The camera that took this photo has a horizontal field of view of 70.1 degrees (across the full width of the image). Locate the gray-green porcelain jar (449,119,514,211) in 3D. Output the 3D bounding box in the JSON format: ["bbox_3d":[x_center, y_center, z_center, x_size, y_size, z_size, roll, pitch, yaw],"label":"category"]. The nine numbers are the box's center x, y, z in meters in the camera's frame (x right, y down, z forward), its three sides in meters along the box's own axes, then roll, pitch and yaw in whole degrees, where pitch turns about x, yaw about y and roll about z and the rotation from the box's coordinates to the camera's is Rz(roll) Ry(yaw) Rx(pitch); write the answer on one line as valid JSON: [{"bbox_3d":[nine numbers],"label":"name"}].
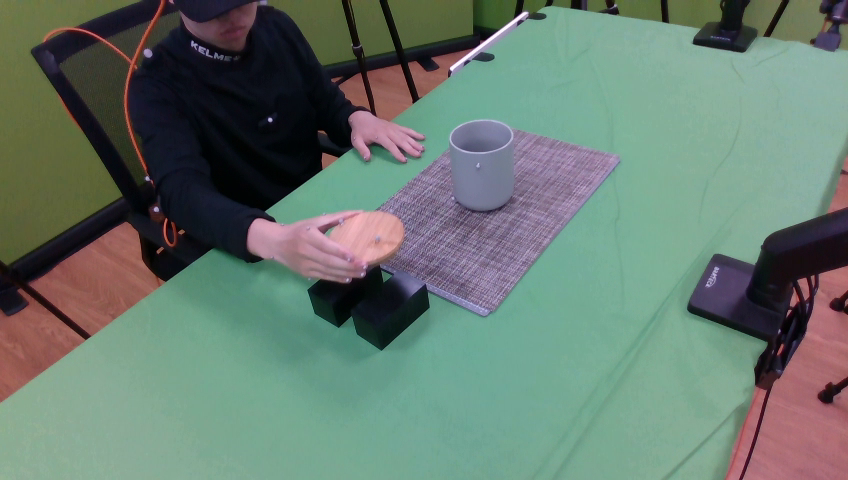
[{"bbox_3d":[0.098,-0.120,1.008,0.106,0.127,0.105,-4,41,4],"label":"gray-green porcelain jar"}]

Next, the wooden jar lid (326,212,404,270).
[{"bbox_3d":[-0.079,0.002,0.825,0.108,0.021,0.108,-7,40,7],"label":"wooden jar lid"}]
